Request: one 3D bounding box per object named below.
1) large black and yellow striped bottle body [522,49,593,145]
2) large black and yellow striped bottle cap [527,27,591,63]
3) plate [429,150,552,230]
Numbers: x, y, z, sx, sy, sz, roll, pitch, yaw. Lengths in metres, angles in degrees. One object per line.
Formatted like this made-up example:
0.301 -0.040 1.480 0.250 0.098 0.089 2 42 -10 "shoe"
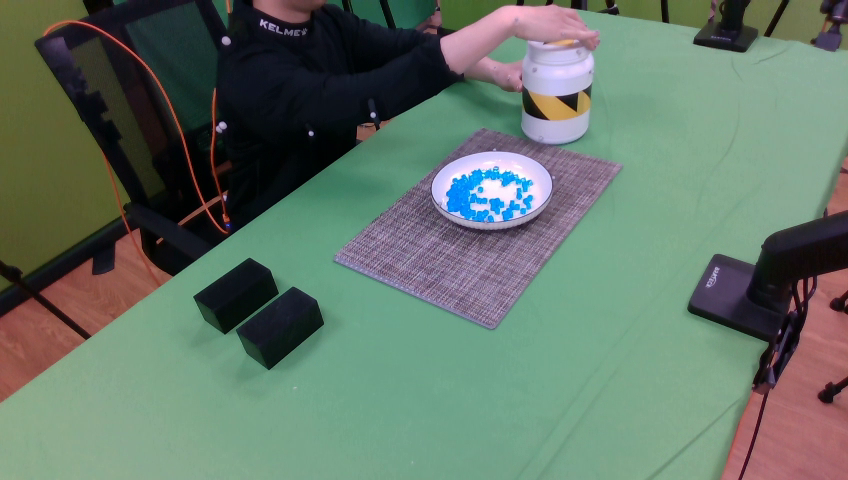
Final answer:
0.251 -0.289 1.147 0.131 0.185 0.130 -4 41 4 "large black and yellow striped bottle body"
0.243 -0.354 1.092 0.115 0.019 0.114 -4 42 4 "large black and yellow striped bottle cap"
0.113 -0.082 1.032 0.207 0.039 0.206 -4 41 4 "plate"
